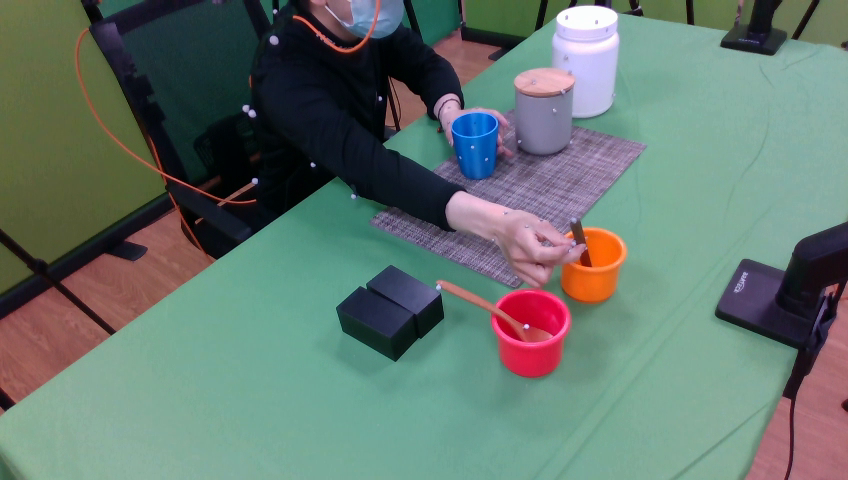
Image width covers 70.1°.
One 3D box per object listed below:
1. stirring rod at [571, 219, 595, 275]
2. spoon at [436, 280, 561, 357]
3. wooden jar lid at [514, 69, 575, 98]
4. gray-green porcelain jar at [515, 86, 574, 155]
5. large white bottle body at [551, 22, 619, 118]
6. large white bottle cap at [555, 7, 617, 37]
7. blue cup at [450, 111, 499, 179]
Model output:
[{"bbox_3d":[0.215,0.013,0.811,0.014,0.177,0.006,-29,59,7],"label":"stirring rod"},{"bbox_3d":[0.096,0.095,0.757,0.195,0.021,0.041,34,42,-20],"label":"spoon"},{"bbox_3d":[0.216,-0.279,1.088,0.108,0.021,0.108,-3,38,3],"label":"wooden jar lid"},{"bbox_3d":[0.224,-0.232,1.129,0.106,0.127,0.105,-4,40,4],"label":"gray-green porcelain jar"},{"bbox_3d":[0.321,-0.356,1.218,0.130,0.185,0.130,-4,41,4],"label":"large white bottle body"},{"bbox_3d":[0.311,-0.420,1.163,0.115,0.018,0.114,-4,40,4],"label":"large white bottle cap"},{"bbox_3d":[0.094,-0.167,1.091,0.092,0.101,0.092,-5,43,5],"label":"blue cup"}]
